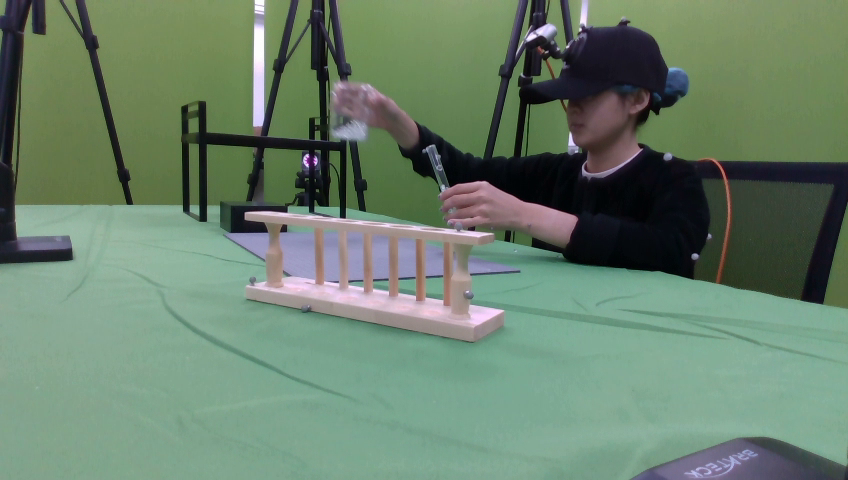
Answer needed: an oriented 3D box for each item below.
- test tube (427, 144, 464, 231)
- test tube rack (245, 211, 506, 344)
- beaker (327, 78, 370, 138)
[{"bbox_3d":[0.036,-0.081,0.966,0.017,0.150,0.017,-19,2,1],"label":"test tube"},{"bbox_3d":[-0.049,0.025,0.547,0.241,0.085,0.067,7,8,28],"label":"test tube rack"},{"bbox_3d":[-0.135,-0.236,1.093,0.083,0.100,0.074,10,9,34],"label":"beaker"}]
